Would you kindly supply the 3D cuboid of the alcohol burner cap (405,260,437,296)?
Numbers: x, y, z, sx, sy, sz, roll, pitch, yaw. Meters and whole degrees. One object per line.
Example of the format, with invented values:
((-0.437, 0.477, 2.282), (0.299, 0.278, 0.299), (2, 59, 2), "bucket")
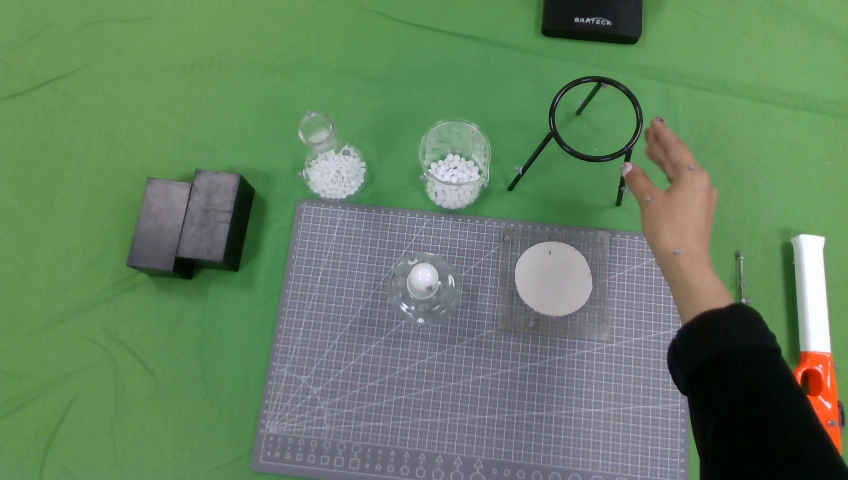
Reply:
((-0.002, 0.035, 0.585), (0.034, 0.048, 0.033), (1, 77, -4), "alcohol burner cap")

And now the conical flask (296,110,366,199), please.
((-0.106, -0.097, 0.655), (0.075, 0.122, 0.075), (0, 76, 1), "conical flask")

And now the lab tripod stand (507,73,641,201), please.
((0.163, -0.103, 0.646), (0.148, 0.132, 0.147), (0, 78, 2), "lab tripod stand")

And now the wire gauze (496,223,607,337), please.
((0.143, 0.042, 0.673), (0.125, 0.011, 0.121), (5, 77, 0), "wire gauze")

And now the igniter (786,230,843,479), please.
((0.409, 0.125, 0.639), (0.057, 0.025, 0.275), (6, 77, -8), "igniter")

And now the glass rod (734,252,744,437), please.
((0.340, 0.109, 0.654), (0.008, 0.008, 0.198), (6, 76, 2), "glass rod")

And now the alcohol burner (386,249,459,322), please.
((-0.002, 0.044, 0.620), (0.078, 0.119, 0.077), (0, 78, 1), "alcohol burner")

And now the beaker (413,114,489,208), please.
((0.032, -0.079, 0.661), (0.083, 0.101, 0.074), (41, 81, 10), "beaker")
